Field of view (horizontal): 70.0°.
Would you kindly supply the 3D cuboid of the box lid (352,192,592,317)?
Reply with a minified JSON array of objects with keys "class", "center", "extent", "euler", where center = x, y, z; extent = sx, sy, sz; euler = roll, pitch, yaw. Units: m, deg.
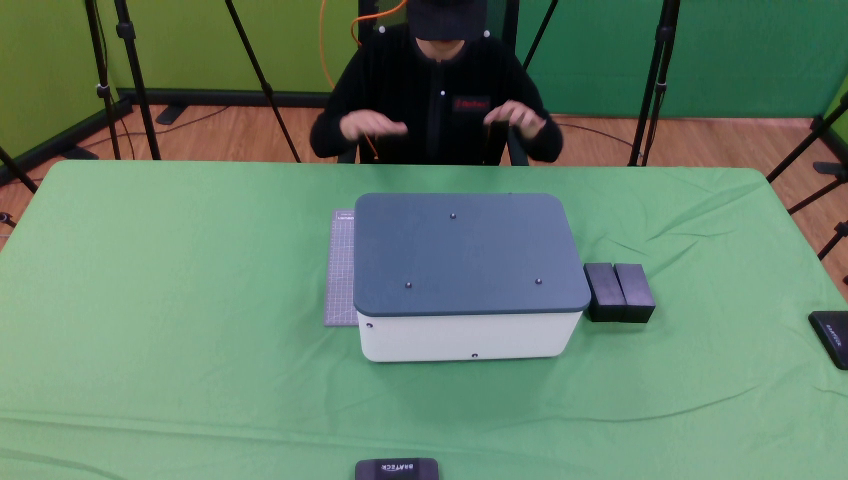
[{"class":"box lid","center":[0.071,0.014,0.986],"extent":[0.372,0.015,0.261],"euler":[-1,47,-5]}]

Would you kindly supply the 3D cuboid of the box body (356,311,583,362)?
[{"class":"box body","center":[0.065,0.066,1.040],"extent":[0.364,0.161,0.252],"euler":[-1,46,-5]}]
